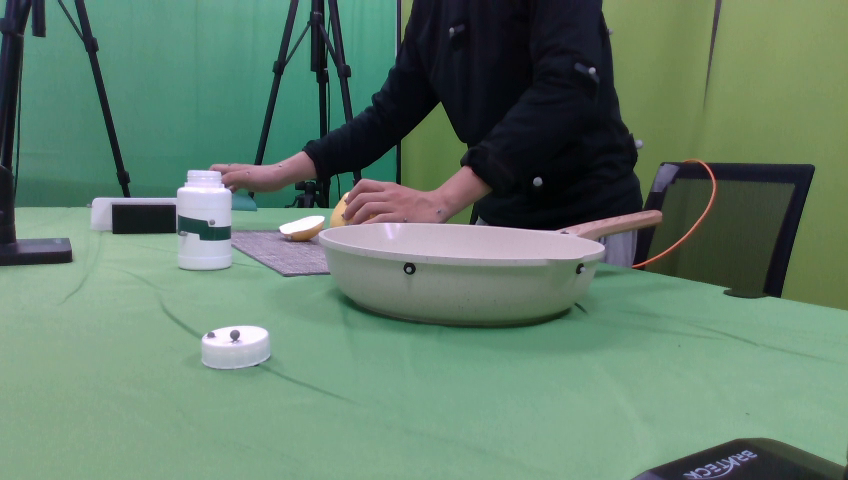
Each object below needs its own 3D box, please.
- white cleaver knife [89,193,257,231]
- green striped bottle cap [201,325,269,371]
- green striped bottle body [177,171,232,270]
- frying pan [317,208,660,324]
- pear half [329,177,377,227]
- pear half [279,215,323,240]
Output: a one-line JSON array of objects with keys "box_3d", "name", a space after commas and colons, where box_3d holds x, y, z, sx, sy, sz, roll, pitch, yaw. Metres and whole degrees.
[{"box_3d": [-0.454, -0.053, 1.115, 0.288, 0.066, 0.021, -4, 16, -27], "name": "white cleaver knife"}, {"box_3d": [-0.129, 0.073, 0.415, 0.044, 0.020, 0.044, 3, 8, 0], "name": "green striped bottle cap"}, {"box_3d": [-0.273, -0.026, 0.753, 0.063, 0.119, 0.063, 2, 7, 0], "name": "green striped bottle body"}, {"box_3d": [0.121, 0.006, 0.691, 0.490, 0.102, 0.305, -13, 15, -33], "name": "frying pan"}, {"box_3d": [-0.105, -0.042, 0.945, 0.077, 0.110, 0.055, -11, 15, -43], "name": "pear half"}, {"box_3d": [-0.206, -0.017, 1.018, 0.087, 0.031, 0.070, -7, 17, 36], "name": "pear half"}]
